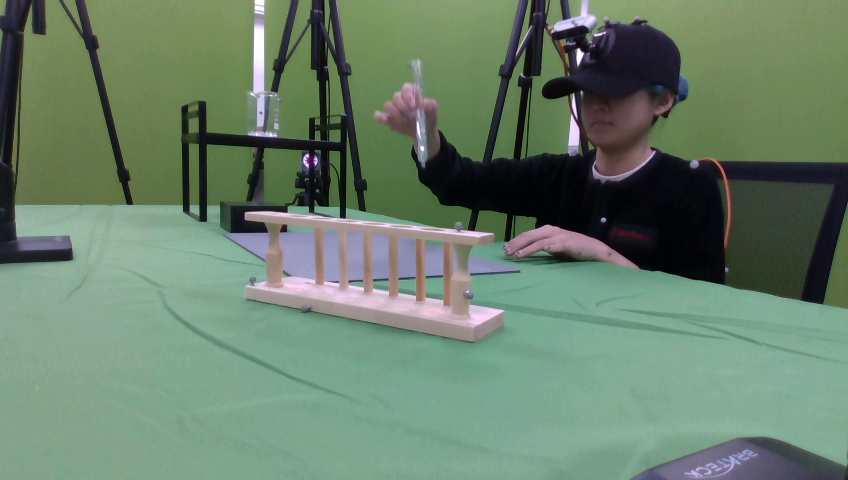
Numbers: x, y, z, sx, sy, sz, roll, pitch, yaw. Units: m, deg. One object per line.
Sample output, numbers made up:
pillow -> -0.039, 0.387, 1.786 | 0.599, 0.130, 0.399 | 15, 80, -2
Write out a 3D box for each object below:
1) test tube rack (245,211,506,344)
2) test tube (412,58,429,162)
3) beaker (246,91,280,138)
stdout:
test tube rack -> -0.049, 0.025, 0.547 | 0.241, 0.085, 0.067 | 7, 8, 28
test tube -> -0.005, -0.189, 0.880 | 0.017, 0.150, 0.017 | -3, 1, 0
beaker -> -0.361, -0.279, 1.351 | 0.074, 0.100, 0.084 | 3, 8, 1
